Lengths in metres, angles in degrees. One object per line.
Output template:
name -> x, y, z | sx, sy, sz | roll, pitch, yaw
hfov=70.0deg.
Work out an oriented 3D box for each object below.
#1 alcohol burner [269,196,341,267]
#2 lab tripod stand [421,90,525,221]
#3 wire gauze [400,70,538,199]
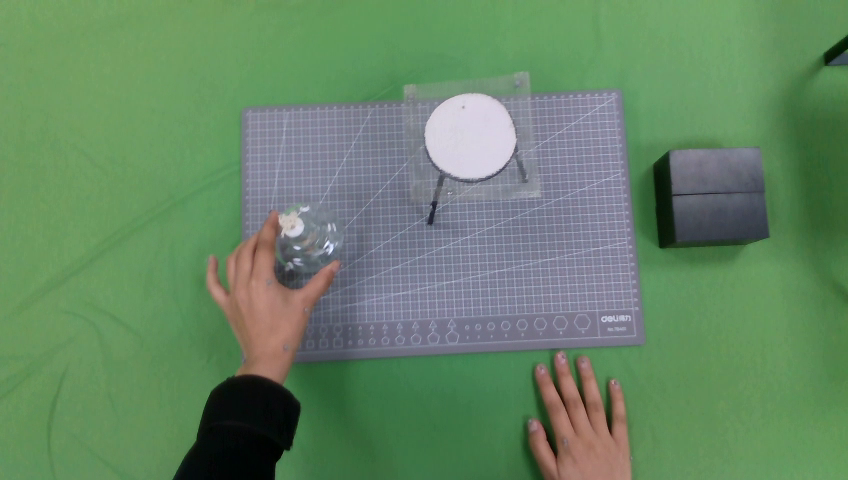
alcohol burner -> -0.128, -0.011, 0.635 | 0.078, 0.119, 0.077 | 0, 83, 1
lab tripod stand -> 0.040, -0.093, 0.640 | 0.148, 0.132, 0.148 | 0, 81, 2
wire gauze -> 0.041, -0.099, 0.573 | 0.125, 0.011, 0.121 | -4, 81, 1
